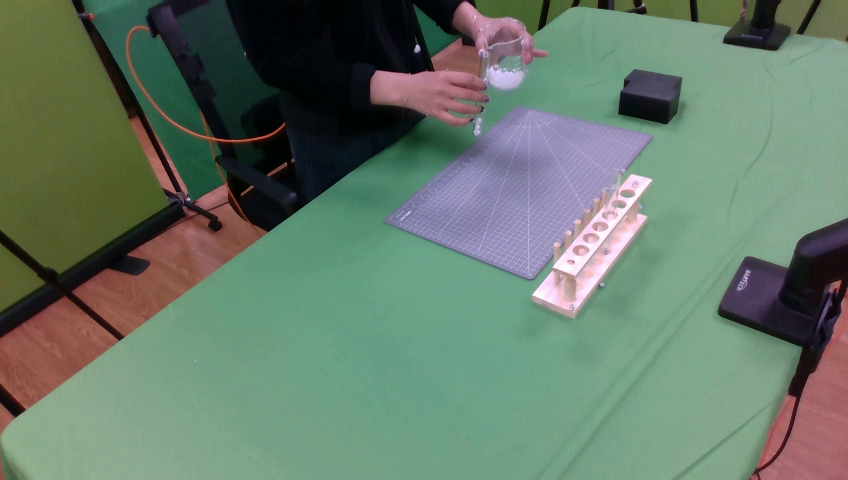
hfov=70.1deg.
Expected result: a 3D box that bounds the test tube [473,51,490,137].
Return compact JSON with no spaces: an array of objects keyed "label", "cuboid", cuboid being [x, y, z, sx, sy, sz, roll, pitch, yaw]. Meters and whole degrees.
[{"label":"test tube","cuboid":[0.099,-0.249,1.043,0.017,0.151,0.017,3,30,-1]}]

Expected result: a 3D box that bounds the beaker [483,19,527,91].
[{"label":"beaker","cuboid":[0.140,-0.317,1.054,0.073,0.101,0.084,30,61,30]}]

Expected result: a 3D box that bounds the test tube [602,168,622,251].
[{"label":"test tube","cuboid":[0.264,-0.039,0.853,0.017,0.151,0.017,-5,44,6]}]

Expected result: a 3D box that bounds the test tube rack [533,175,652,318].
[{"label":"test tube rack","cuboid":[0.251,-0.001,0.889,0.066,0.085,0.243,22,49,33]}]
